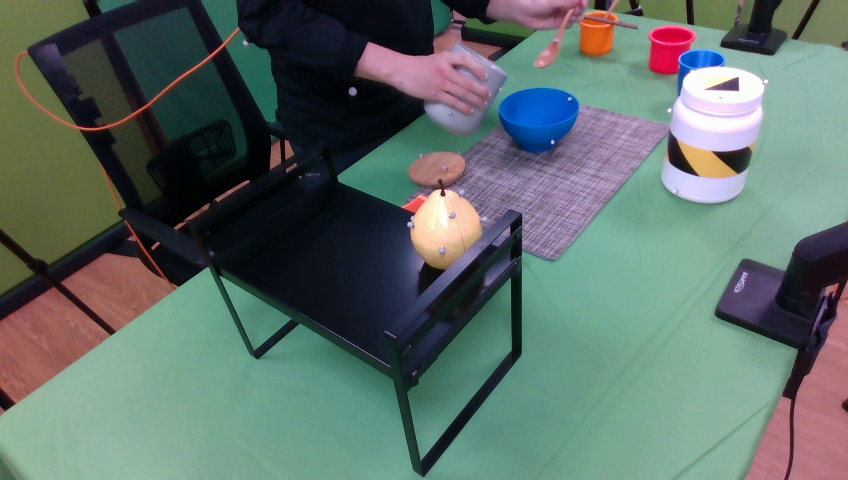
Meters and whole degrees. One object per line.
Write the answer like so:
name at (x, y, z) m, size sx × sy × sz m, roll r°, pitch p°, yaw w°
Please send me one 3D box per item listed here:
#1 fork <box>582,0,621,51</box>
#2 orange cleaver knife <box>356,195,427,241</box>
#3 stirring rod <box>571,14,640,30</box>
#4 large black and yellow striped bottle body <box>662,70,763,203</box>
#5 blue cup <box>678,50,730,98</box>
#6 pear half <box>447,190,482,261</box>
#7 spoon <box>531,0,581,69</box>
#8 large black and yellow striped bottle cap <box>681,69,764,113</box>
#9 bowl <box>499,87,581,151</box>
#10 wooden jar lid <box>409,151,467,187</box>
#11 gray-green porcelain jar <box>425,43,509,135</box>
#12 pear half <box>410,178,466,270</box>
fork at (0.446, -0.539, 1.438) m, size 0.207 × 0.019 × 0.028 m, roll -57°, pitch 36°, yaw 12°
orange cleaver knife at (-0.037, -0.029, 0.973) m, size 0.210 × 0.077 × 0.012 m, roll -8°, pitch 33°, yaw 50°
stirring rod at (0.419, -0.508, 1.404) m, size 0.174 × 0.006 × 0.014 m, roll 28°, pitch 55°, yaw 35°
large black and yellow striped bottle body at (0.464, -0.166, 0.976) m, size 0.131 × 0.185 × 0.130 m, roll -5°, pitch 41°, yaw 5°
blue cup at (0.542, -0.310, 1.194) m, size 0.092 × 0.101 × 0.092 m, roll -6°, pitch 41°, yaw 6°
pear half at (0.046, -0.020, 0.664) m, size 0.031 × 0.088 × 0.070 m, roll -17°, pitch 38°, yaw -9°
spoon at (0.255, -0.395, 1.098) m, size 0.022 × 0.193 × 0.041 m, roll 22°, pitch 15°, yaw -35°
large black and yellow striped bottle cap at (0.453, -0.229, 0.921) m, size 0.115 × 0.019 × 0.114 m, roll -4°, pitch 39°, yaw 4°
bowl at (0.221, -0.223, 1.156) m, size 0.151 × 0.077 × 0.150 m, roll -5°, pitch 40°, yaw 4°
wooden jar lid at (0.026, -0.131, 1.124) m, size 0.108 × 0.021 × 0.108 m, roll -8°, pitch 36°, yaw 6°
gray-green porcelain jar at (0.069, -0.254, 1.041) m, size 0.106 × 0.126 × 0.105 m, roll 28°, pitch 21°, yaw -11°
pear half at (0.011, -0.019, 0.654) m, size 0.056 × 0.110 × 0.076 m, roll -16°, pitch 37°, yaw -9°
